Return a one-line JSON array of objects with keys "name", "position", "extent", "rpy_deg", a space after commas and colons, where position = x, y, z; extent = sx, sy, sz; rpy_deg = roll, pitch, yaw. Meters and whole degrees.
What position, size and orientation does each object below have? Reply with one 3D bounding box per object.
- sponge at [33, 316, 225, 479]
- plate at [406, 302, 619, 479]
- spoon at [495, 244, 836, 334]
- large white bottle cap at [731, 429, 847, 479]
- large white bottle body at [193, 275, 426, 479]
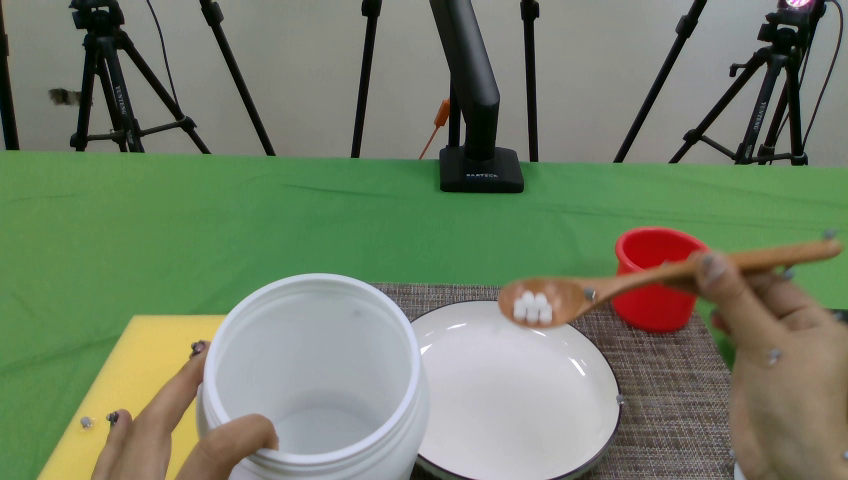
[{"name": "sponge", "position": [-0.205, 0.149, 0.479], "extent": [0.118, 0.061, 0.205], "rpy_deg": [-1, 34, 0]}, {"name": "plate", "position": [0.061, 0.134, 0.530], "extent": [0.209, 0.038, 0.207], "rpy_deg": [2, 34, -1]}, {"name": "spoon", "position": [0.138, 0.026, 0.362], "extent": [0.193, 0.022, 0.041], "rpy_deg": [-14, 40, 18]}, {"name": "large white bottle cap", "position": [0.300, 0.198, 0.469], "extent": [0.115, 0.018, 0.114], "rpy_deg": [3, 35, -2]}, {"name": "large white bottle body", "position": [-0.069, 0.117, 0.379], "extent": [0.131, 0.186, 0.129], "rpy_deg": [5, 51, -6]}]
